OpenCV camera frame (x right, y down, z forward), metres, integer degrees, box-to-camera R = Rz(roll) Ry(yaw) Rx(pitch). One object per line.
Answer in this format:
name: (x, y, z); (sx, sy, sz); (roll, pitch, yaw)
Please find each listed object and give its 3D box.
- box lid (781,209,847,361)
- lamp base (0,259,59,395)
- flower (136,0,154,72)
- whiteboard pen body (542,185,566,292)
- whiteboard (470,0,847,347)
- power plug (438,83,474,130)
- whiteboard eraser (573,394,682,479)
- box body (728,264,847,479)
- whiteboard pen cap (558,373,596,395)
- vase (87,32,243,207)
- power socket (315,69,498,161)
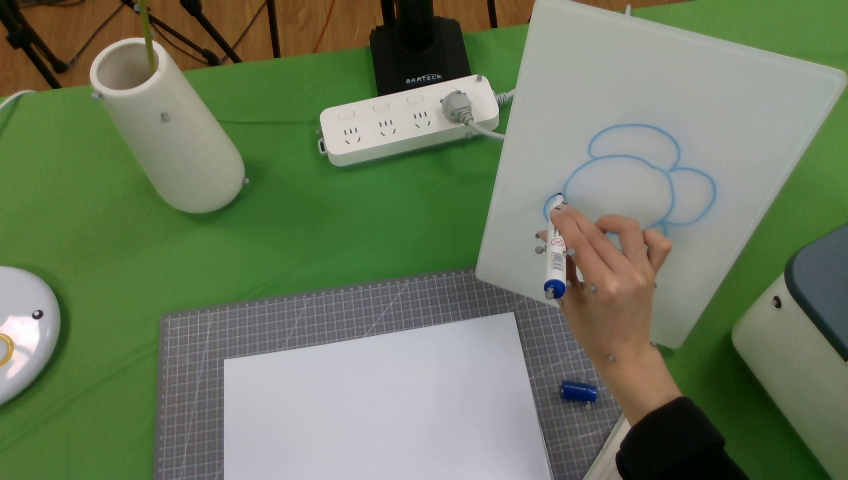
box lid: (0.468, 0.101, 0.428); (0.263, 0.015, 0.368); (-26, 66, -9)
lamp base: (-0.474, 0.054, 0.558); (0.178, 0.182, 0.160); (21, 66, 15)
flower: (-0.243, -0.147, 0.546); (0.038, 0.362, 0.044); (39, 62, 1)
whiteboard pen body: (0.104, -0.007, 0.479); (0.017, 0.017, 0.140); (9, 37, 7)
whiteboard: (0.189, -0.078, 0.564); (0.216, 0.308, 0.143); (20, 45, 12)
power plug: (0.036, -0.146, 0.694); (0.035, 0.053, 0.072); (-4, 70, 0)
whiteboard eraser: (0.177, 0.197, 0.540); (0.055, 0.042, 0.112); (34, 70, 18)
box body: (0.472, 0.137, 0.494); (0.254, 0.161, 0.361); (-26, 66, -10)
whiteboard pen cap: (0.147, 0.139, 0.583); (0.033, 0.018, 0.018); (9, 64, 4)
vase: (-0.260, -0.116, 0.623); (0.098, 0.201, 0.097); (-1, 64, 3)
power socket: (-0.020, -0.150, 0.723); (0.227, 0.033, 0.071); (-13, 65, -5)
